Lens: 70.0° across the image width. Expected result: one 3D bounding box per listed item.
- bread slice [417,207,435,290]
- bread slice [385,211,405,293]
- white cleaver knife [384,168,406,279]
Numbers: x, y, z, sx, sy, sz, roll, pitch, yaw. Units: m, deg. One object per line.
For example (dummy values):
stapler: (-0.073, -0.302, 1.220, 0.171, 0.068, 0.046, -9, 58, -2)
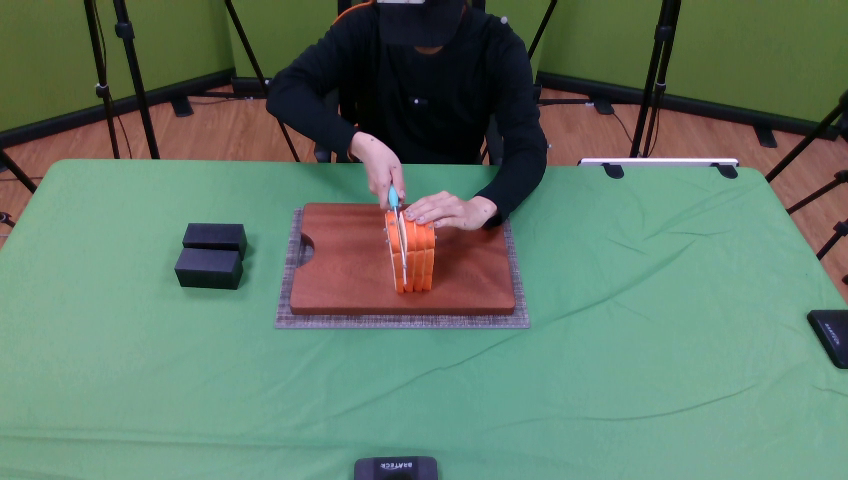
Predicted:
bread slice: (0.003, 0.011, 1.071, 0.018, 0.135, 0.106, -4, 49, -8)
bread slice: (-0.052, 0.013, 1.065, 0.019, 0.132, 0.104, -9, 46, -3)
white cleaver knife: (-0.053, -0.036, 1.108, 0.021, 0.066, 0.284, -5, 42, -4)
